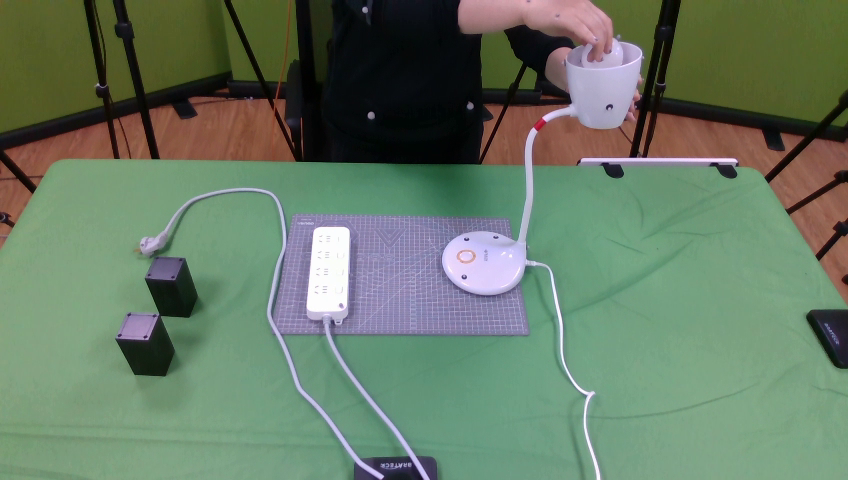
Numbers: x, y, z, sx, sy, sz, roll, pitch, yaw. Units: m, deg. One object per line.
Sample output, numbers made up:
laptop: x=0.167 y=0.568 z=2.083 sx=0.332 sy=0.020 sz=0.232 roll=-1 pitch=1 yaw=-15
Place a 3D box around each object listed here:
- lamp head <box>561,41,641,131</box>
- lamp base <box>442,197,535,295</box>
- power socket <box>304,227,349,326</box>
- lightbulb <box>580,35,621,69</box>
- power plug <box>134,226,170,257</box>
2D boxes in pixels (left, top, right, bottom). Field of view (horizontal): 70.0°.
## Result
lamp head: x=0.270 y=-0.231 z=0.936 sx=0.112 sy=0.123 sz=0.112 roll=-3 pitch=36 yaw=2
lamp base: x=0.130 y=-0.012 z=1.105 sx=0.179 sy=0.181 sz=0.159 roll=-1 pitch=46 yaw=-9
power socket: x=-0.177 y=0.059 z=1.115 sx=0.072 sy=0.033 sz=0.225 roll=-1 pitch=46 yaw=-4
lightbulb: x=0.268 y=-0.254 z=0.920 sx=0.059 sy=0.108 sz=0.059 roll=-7 pitch=24 yaw=3
power plug: x=-0.515 y=0.006 z=1.153 sx=0.052 sy=0.035 sz=0.072 roll=-6 pitch=24 yaw=6
